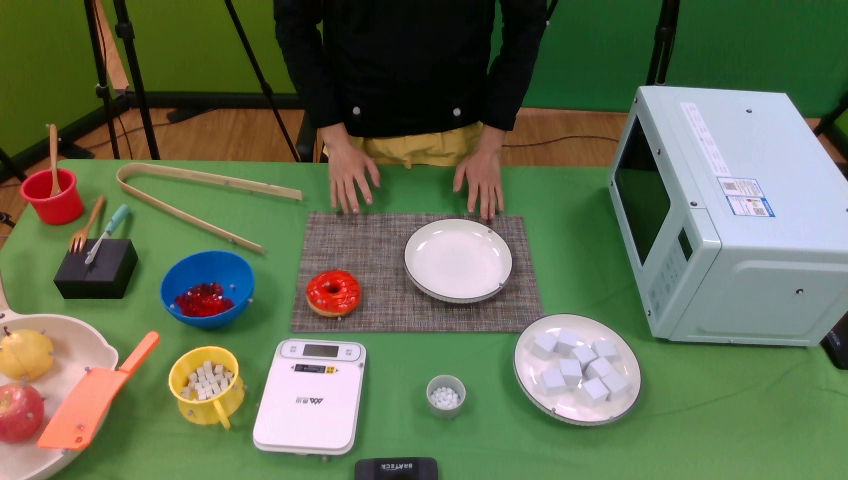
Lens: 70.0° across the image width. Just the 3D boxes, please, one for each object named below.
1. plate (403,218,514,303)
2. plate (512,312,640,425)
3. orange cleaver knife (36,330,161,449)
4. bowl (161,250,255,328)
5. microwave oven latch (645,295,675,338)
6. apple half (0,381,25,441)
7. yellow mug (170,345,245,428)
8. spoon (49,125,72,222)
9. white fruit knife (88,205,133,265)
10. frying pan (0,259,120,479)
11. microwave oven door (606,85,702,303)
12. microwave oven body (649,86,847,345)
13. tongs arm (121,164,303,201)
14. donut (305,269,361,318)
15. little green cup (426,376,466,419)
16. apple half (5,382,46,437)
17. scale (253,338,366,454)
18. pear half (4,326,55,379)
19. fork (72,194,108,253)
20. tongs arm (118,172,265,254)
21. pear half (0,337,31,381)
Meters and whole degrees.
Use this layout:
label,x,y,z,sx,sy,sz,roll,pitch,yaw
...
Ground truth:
label,x,y,z,sx,sy,sz,roll,pitch,yaw
plate,0.064,0.042,1.146,0.209,0.038,0.208,3,46,-2
plate,0.246,0.213,0.999,0.208,0.039,0.206,2,46,-2
orange cleaver knife,-0.466,0.210,0.880,0.077,0.012,0.210,15,46,9
bowl,-0.362,0.098,1.040,0.151,0.077,0.150,2,45,-2
microwave oven latch,0.412,0.134,1.061,0.030,0.029,0.078,3,45,0
apple half,-0.605,0.250,0.871,0.053,0.075,0.080,-9,51,-7
yellow mug,-0.322,0.230,0.922,0.100,0.064,0.130,-24,53,-25
spoon,-0.718,-0.131,1.189,0.041,0.021,0.193,-4,90,-6
white fruit knife,-0.584,-0.013,1.129,0.016,0.027,0.206,-1,32,-5
frying pan,-0.647,0.164,0.936,0.307,0.103,0.485,-19,58,-22
microwave oven door,0.422,-0.094,1.140,0.039,0.245,0.353,2,46,-1
microwave oven body,0.567,-0.053,1.118,0.326,0.261,0.439,2,45,-1
tongs arm,-0.444,-0.114,1.266,0.384,0.026,0.050,12,51,7
donut,-0.160,0.094,1.075,0.099,0.048,0.098,3,45,-3
little green cup,0.033,0.248,0.950,0.061,0.039,0.061,2,46,-2
apple half,-0.567,0.245,0.877,0.033,0.082,0.080,-9,47,-6
scale,-0.175,0.236,0.951,0.149,0.032,0.199,5,45,0
pear half,-0.609,0.159,0.934,0.076,0.110,0.056,32,52,20
fork,-0.634,-0.036,1.158,0.028,0.019,0.206,-8,32,-8
tongs arm,-0.473,-0.054,1.211,0.386,0.028,0.028,23,57,17
pear half,-0.632,0.185,0.920,0.070,0.088,0.031,29,49,20
